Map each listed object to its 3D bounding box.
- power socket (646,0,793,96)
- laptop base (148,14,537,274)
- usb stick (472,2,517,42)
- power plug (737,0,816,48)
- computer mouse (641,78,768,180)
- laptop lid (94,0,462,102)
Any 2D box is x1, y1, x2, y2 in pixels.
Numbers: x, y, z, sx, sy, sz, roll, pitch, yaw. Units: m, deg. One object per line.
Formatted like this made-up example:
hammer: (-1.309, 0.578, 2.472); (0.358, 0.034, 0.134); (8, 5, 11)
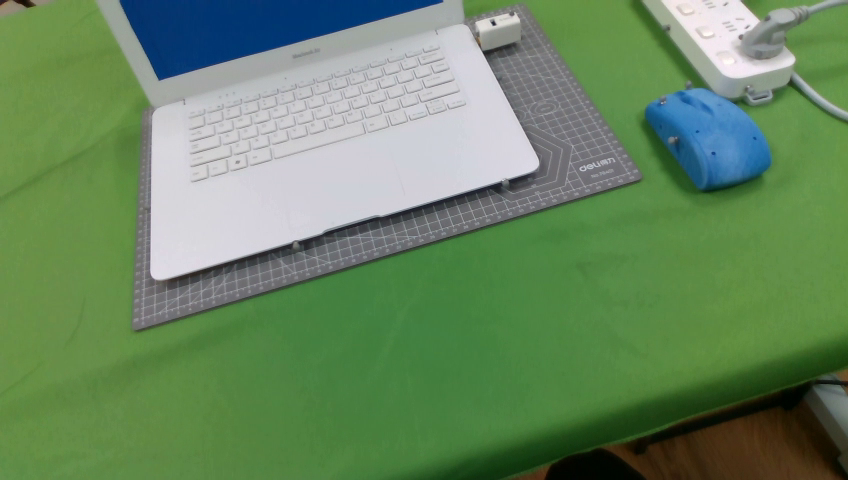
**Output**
power socket: (0.284, -0.230, 0.611); (0.072, 0.033, 0.224); (-14, 53, 0)
laptop base: (-0.094, -0.105, 0.594); (0.354, 0.023, 0.233); (-17, 56, -3)
usb stick: (0.068, -0.228, 0.640); (0.059, 0.027, 0.021); (-18, 54, 1)
power plug: (0.324, -0.191, 0.550); (0.072, 0.053, 0.035); (-5, 56, 6)
computer mouse: (0.239, -0.103, 0.523); (0.063, 0.041, 0.116); (-17, 48, 0)
laptop lid: (-0.148, -0.281, 0.587); (0.357, 0.244, 0.013); (-18, 40, -2)
